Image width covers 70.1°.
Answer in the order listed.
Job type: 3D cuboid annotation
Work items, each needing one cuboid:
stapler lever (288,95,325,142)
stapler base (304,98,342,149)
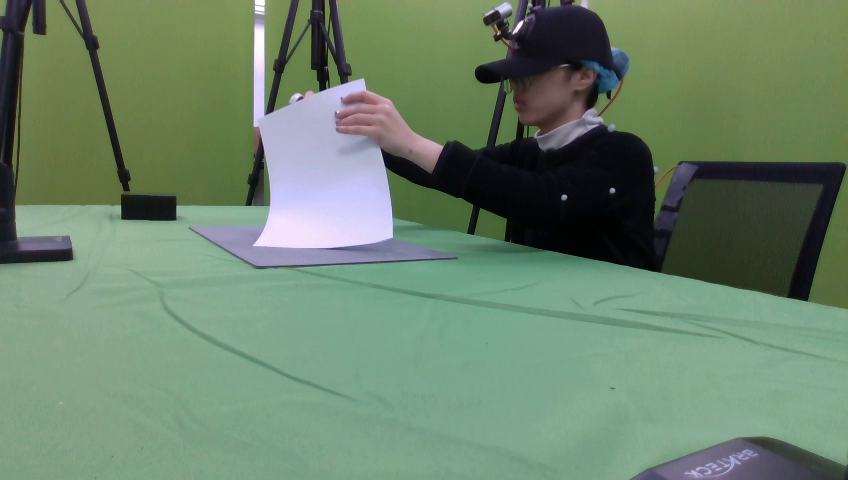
[{"bbox_3d":[-0.215,-0.229,1.142,0.040,0.027,0.118,27,-12,25],"label":"stapler lever"},{"bbox_3d":[-0.194,-0.220,1.130,0.024,0.041,0.131,28,-12,24],"label":"stapler base"}]
